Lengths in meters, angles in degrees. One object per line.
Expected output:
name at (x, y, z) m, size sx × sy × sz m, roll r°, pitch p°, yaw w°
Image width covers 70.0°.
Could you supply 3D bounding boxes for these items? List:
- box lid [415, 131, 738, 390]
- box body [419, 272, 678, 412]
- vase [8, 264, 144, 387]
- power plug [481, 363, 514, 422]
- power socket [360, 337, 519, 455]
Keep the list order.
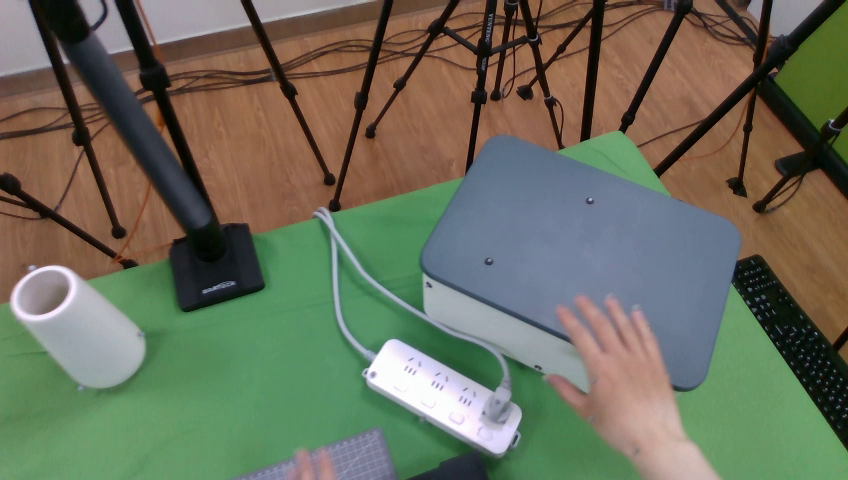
box lid at (0.202, 0.009, 0.778) m, size 0.370 × 0.015 × 0.262 m, roll 24°, pitch 61°, yaw 11°
box body at (0.197, 0.047, 0.841) m, size 0.363 × 0.161 × 0.253 m, roll 24°, pitch 60°, yaw 11°
vase at (-0.422, 0.107, 0.746) m, size 0.098 × 0.201 × 0.097 m, roll 2°, pitch 57°, yaw -3°
power plug at (0.104, 0.205, 0.789) m, size 0.035 × 0.053 × 0.072 m, roll 35°, pitch 59°, yaw 20°
power socket at (0.022, 0.207, 0.810) m, size 0.226 × 0.033 × 0.072 m, roll 26°, pitch 61°, yaw 13°
